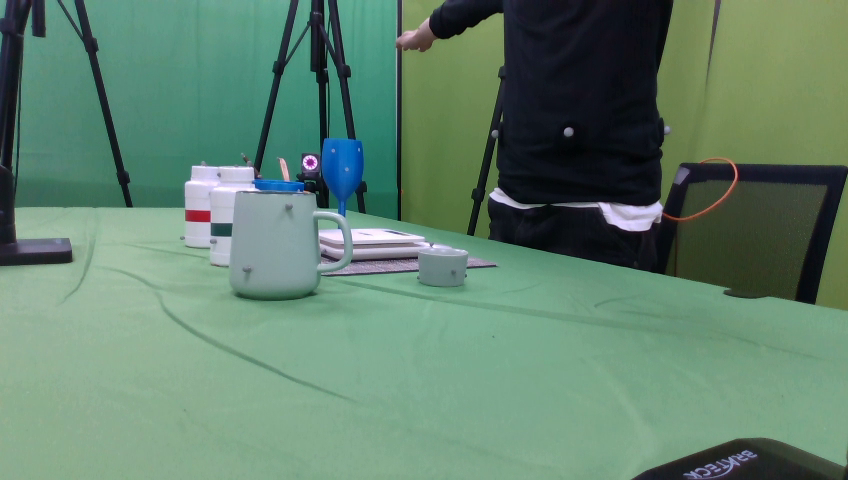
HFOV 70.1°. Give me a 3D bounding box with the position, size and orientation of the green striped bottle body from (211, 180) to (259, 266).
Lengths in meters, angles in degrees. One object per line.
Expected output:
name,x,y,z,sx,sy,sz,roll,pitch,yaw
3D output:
green striped bottle body,-0.243,-0.029,0.784,0.063,0.119,0.063,2,7,0

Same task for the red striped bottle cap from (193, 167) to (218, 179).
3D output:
red striped bottle cap,-0.329,-0.102,0.921,0.044,0.017,0.044,1,8,0

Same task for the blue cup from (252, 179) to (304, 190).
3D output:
blue cup,-0.230,-0.040,0.929,0.093,0.100,0.092,4,6,0

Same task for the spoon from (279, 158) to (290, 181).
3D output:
spoon,-0.280,-0.102,1.251,0.042,0.193,0.021,7,-40,-30

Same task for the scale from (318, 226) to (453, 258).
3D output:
scale,-0.066,0.001,0.906,0.202,0.031,0.148,-2,8,-31

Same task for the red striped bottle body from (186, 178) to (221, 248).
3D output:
red striped bottle body,-0.331,-0.050,0.927,0.063,0.119,0.063,2,7,0

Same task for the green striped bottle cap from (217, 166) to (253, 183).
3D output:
green striped bottle cap,-0.242,-0.085,0.777,0.044,0.020,0.044,2,9,0

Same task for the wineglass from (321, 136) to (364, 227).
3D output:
wineglass,-0.138,-0.086,1.020,0.074,0.172,0.073,2,7,0

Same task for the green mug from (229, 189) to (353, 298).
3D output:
green mug,-0.135,0.002,0.618,0.125,0.105,0.092,2,7,4

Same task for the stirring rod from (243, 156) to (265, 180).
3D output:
stirring rod,-0.304,-0.099,1.201,0.006,0.177,0.014,-26,37,8

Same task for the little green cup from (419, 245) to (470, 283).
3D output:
little green cup,0.023,0.028,0.712,0.061,0.038,0.061,1,6,0
